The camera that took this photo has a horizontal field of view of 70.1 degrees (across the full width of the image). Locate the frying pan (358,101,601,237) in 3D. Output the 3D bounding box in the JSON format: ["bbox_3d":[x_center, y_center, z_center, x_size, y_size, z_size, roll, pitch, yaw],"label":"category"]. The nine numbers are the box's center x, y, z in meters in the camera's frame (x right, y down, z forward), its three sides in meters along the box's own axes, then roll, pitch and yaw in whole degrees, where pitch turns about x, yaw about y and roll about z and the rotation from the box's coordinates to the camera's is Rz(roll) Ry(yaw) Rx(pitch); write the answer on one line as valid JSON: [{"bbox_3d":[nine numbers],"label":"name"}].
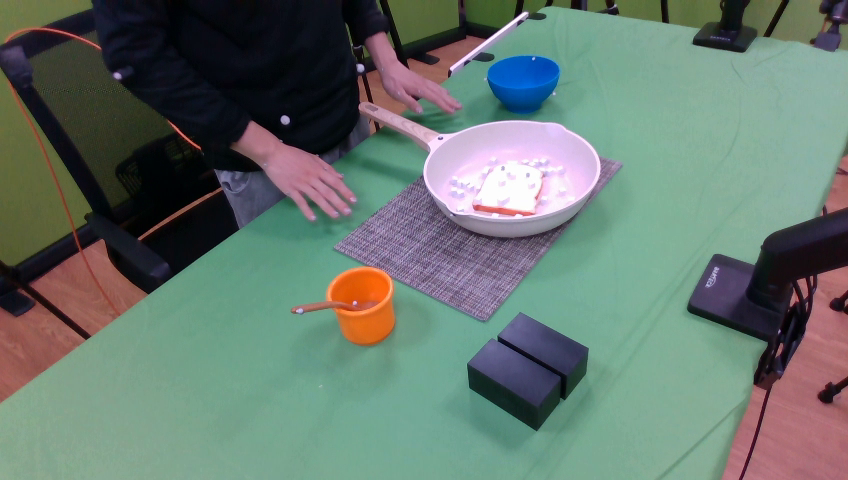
[{"bbox_3d":[0.067,-0.153,1.067,0.484,0.103,0.308,32,52,26],"label":"frying pan"}]

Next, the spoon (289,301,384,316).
[{"bbox_3d":[-0.112,0.087,0.785,0.041,0.195,0.021,14,89,28],"label":"spoon"}]

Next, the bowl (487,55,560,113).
[{"bbox_3d":[0.208,-0.319,1.266,0.151,0.077,0.150,-4,41,4],"label":"bowl"}]

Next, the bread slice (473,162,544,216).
[{"bbox_3d":[0.150,-0.088,1.041,0.106,0.018,0.134,7,44,16],"label":"bread slice"}]
